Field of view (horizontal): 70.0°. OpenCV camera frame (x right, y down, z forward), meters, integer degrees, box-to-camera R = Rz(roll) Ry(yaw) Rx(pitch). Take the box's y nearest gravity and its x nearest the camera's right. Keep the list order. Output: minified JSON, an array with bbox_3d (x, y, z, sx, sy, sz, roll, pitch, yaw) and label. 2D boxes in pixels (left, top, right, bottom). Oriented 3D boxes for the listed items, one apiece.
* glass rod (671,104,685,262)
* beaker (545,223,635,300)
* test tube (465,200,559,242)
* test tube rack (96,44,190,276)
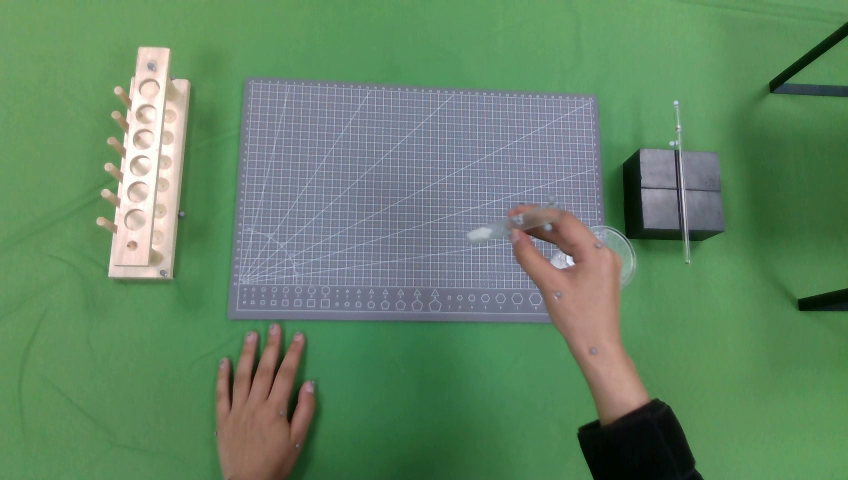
[{"bbox_3d":[0.305,-0.071,0.728,0.008,0.008,0.199,3,78,-5],"label":"glass rod"},{"bbox_3d":[0.182,0.029,0.692,0.084,0.100,0.073,3,76,-4],"label":"beaker"},{"bbox_3d":[0.073,-0.014,0.539,0.017,0.150,0.017,3,81,-21],"label":"test tube"},{"bbox_3d":[-0.315,-0.087,0.673,0.067,0.085,0.241,1,77,-6],"label":"test tube rack"}]
